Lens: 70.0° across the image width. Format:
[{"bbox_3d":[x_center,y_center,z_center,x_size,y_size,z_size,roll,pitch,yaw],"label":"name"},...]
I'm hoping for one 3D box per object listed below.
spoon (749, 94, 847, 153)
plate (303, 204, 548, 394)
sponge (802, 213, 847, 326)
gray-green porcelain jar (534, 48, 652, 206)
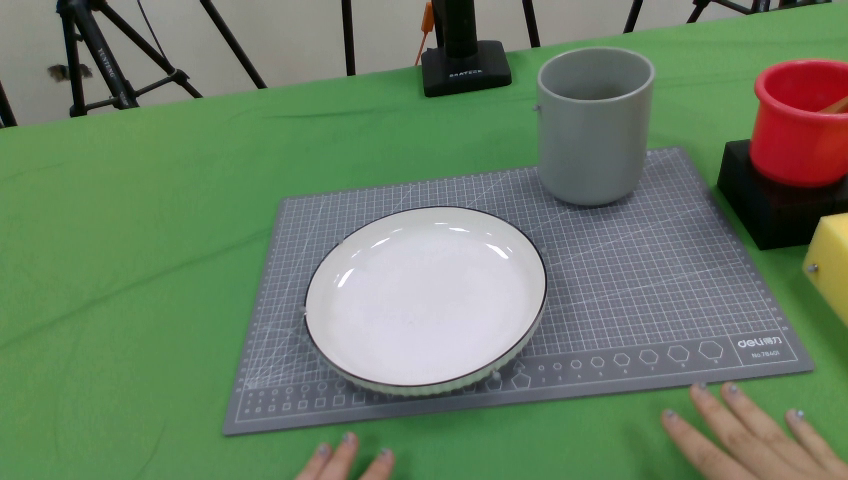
[{"bbox_3d":[0.358,-0.120,0.483,0.194,0.022,0.041,-35,20,47],"label":"spoon"},{"bbox_3d":[0.002,0.048,0.525,0.207,0.039,0.205,-6,42,6],"label":"plate"},{"bbox_3d":[0.384,0.059,0.419,0.118,0.061,0.204,-10,41,1],"label":"sponge"},{"bbox_3d":[0.162,-0.106,0.593,0.106,0.128,0.105,-6,42,6],"label":"gray-green porcelain jar"}]
